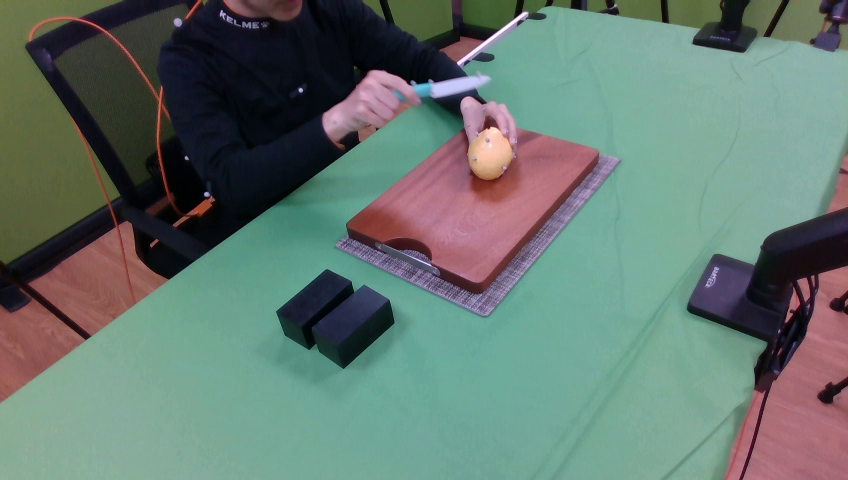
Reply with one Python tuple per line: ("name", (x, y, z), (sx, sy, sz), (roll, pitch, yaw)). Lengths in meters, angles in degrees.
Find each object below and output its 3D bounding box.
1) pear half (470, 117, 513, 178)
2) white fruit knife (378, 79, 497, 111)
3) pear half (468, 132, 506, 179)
("pear half", (0.118, -0.166, 1.033), (0.076, 0.110, 0.056), (16, 45, 17))
("white fruit knife", (0.015, -0.226, 0.930), (0.206, 0.027, 0.016), (-4, 46, 26))
("pear half", (0.103, -0.137, 1.017), (0.070, 0.088, 0.031), (18, 46, 16))
